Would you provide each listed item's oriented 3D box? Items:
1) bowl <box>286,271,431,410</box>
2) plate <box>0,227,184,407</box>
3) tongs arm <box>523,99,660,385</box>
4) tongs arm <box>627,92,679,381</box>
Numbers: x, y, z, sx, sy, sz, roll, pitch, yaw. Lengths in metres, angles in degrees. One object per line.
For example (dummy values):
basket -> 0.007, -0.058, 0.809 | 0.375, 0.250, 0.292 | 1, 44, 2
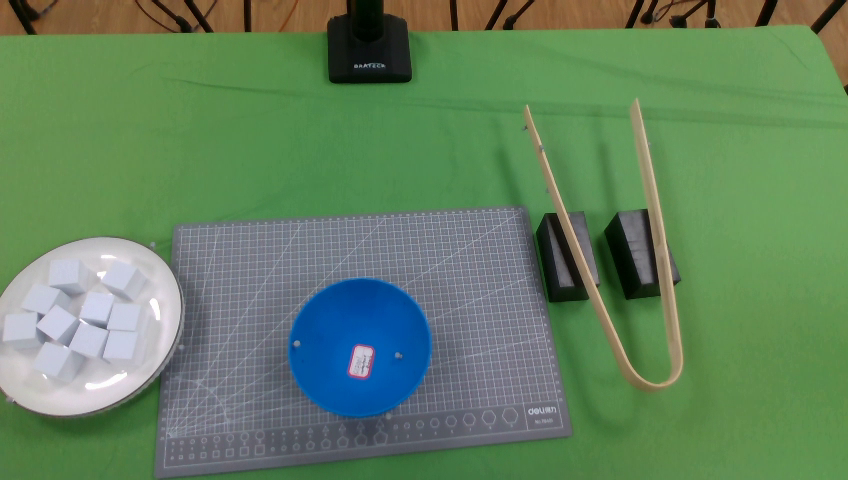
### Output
bowl -> -0.070, 0.118, 0.665 | 0.151, 0.077, 0.150 | 2, 64, -4
plate -> -0.373, 0.085, 0.679 | 0.208, 0.039, 0.206 | 2, 65, -3
tongs arm -> 0.191, -0.014, 0.727 | 0.051, 0.027, 0.381 | -8, 65, -9
tongs arm -> 0.271, -0.020, 0.734 | 0.028, 0.028, 0.384 | 5, 64, -6
